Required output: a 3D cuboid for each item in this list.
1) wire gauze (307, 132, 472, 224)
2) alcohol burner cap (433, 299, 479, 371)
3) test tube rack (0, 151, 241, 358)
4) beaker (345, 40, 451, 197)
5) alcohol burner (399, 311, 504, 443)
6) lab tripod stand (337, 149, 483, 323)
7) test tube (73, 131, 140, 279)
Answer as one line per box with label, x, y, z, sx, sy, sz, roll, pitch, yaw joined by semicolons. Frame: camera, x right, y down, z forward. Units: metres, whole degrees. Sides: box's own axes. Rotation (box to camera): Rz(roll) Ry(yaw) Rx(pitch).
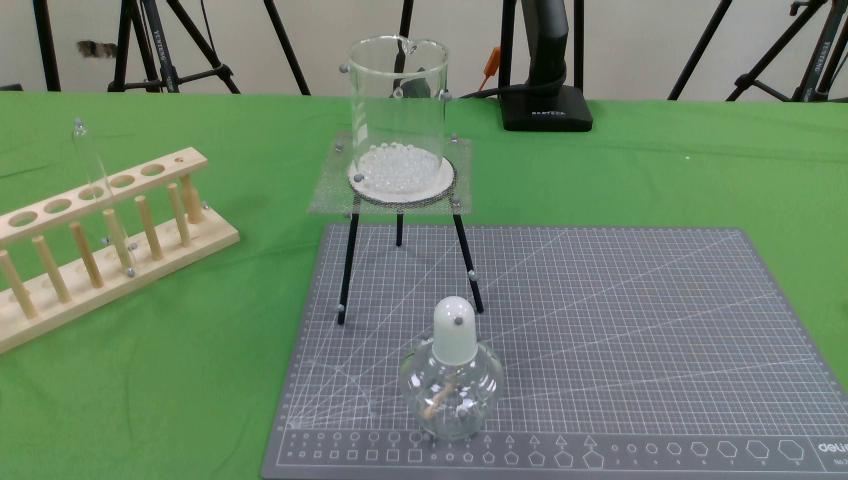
wire gauze;-0.022;-0.052;0.488;0.121;0.011;0.124;3;40;2
alcohol burner cap;0.022;0.061;0.410;0.034;0.048;0.033;-1;38;2
test tube rack;-0.302;0.007;0.560;0.242;0.086;0.066;-30;47;-33
beaker;-0.019;-0.091;0.460;0.074;0.101;0.083;8;38;6
alcohol burner;0.020;0.090;0.432;0.078;0.120;0.077;1;40;0
lab tripod stand;-0.014;-0.001;0.531;0.148;0.132;0.147;2;37;-1
test tube;-0.277;-0.027;0.531;0.017;0.151;0.017;1;37;0
